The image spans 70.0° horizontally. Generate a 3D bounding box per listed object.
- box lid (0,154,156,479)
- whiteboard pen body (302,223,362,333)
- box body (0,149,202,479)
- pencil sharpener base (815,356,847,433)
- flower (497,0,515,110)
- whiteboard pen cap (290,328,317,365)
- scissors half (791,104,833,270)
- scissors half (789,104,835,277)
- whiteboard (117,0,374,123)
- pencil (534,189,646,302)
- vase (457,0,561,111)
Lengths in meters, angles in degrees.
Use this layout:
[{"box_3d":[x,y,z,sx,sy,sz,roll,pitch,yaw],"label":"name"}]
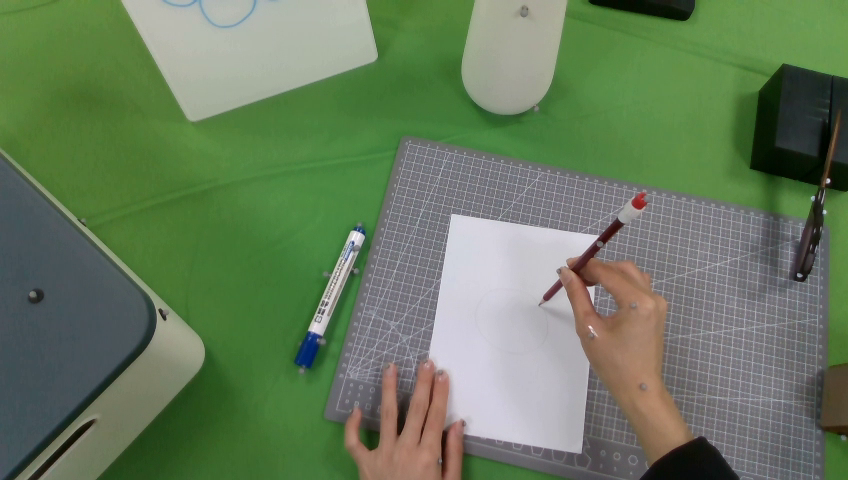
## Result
[{"box_3d":[-0.403,0.033,0.430,0.370,0.015,0.263,39,75,11],"label":"box lid"},{"box_3d":[-0.092,0.046,0.584,0.017,0.017,0.140,19,70,6],"label":"whiteboard pen body"},{"box_3d":[-0.402,0.059,0.500,0.362,0.161,0.253,39,75,11],"label":"box body"},{"box_3d":[0.403,0.135,0.514,0.076,0.107,0.061,16,71,2],"label":"pencil sharpener base"},{"box_3d":[0.079,-0.251,0.504,0.044,0.365,0.038,6,53,5],"label":"flower"},{"box_3d":[-0.111,0.098,0.564,0.018,0.018,0.033,18,68,6],"label":"whiteboard pen cap"},{"box_3d":[0.373,-0.054,0.574,0.013,0.040,0.174,14,73,24],"label":"scissors half"},{"box_3d":[0.381,-0.049,0.592,0.012,0.040,0.175,13,91,30],"label":"scissors half"},{"box_3d":[-0.197,-0.305,0.581,0.217,0.308,0.142,-21,53,-7],"label":"whiteboard"},{"box_3d":[0.129,0.013,0.504,0.012,0.195,0.012,7,60,-11],"label":"pencil"},{"box_3d":[0.083,-0.210,0.578,0.098,0.201,0.097,0,70,1],"label":"vase"}]
